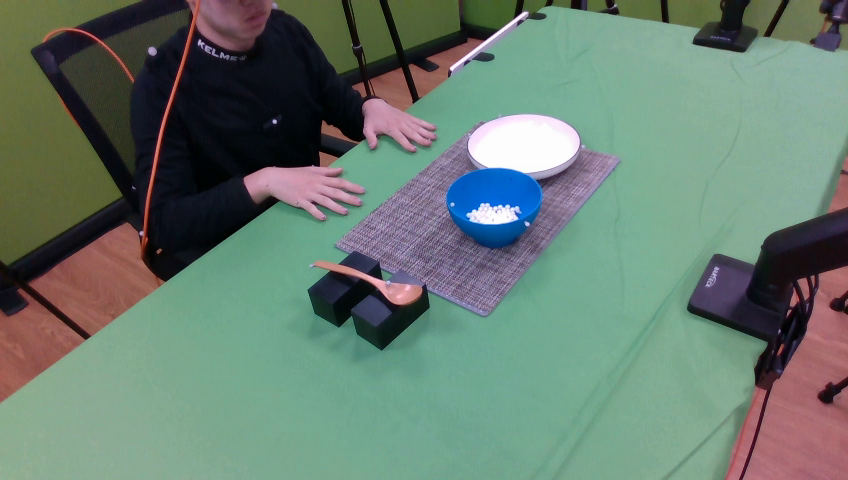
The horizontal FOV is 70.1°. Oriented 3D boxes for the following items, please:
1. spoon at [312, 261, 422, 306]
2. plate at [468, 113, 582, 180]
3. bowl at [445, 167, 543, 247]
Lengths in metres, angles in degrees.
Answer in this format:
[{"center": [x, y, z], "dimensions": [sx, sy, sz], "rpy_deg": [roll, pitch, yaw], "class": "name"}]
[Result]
[{"center": [-0.084, 0.055, 0.842], "dimensions": [0.192, 0.022, 0.042], "rpy_deg": [19, 46, 29], "class": "spoon"}, {"center": [0.186, -0.169, 1.122], "dimensions": [0.207, 0.039, 0.206], "rpy_deg": [-4, 40, 4], "class": "plate"}, {"center": [0.111, -0.041, 0.952], "dimensions": [0.151, 0.077, 0.150], "rpy_deg": [-4, 41, 4], "class": "bowl"}]
